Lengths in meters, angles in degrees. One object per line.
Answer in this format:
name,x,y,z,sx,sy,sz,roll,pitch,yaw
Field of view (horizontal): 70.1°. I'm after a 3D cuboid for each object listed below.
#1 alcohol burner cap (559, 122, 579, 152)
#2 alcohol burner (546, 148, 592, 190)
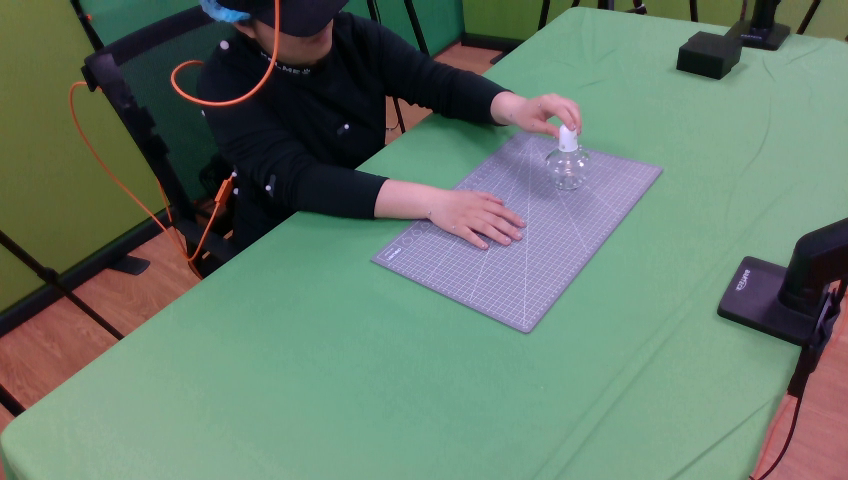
alcohol burner cap,0.241,-0.173,1.010,0.034,0.048,0.033,-9,39,8
alcohol burner,0.247,-0.146,1.035,0.078,0.120,0.077,-7,41,6
